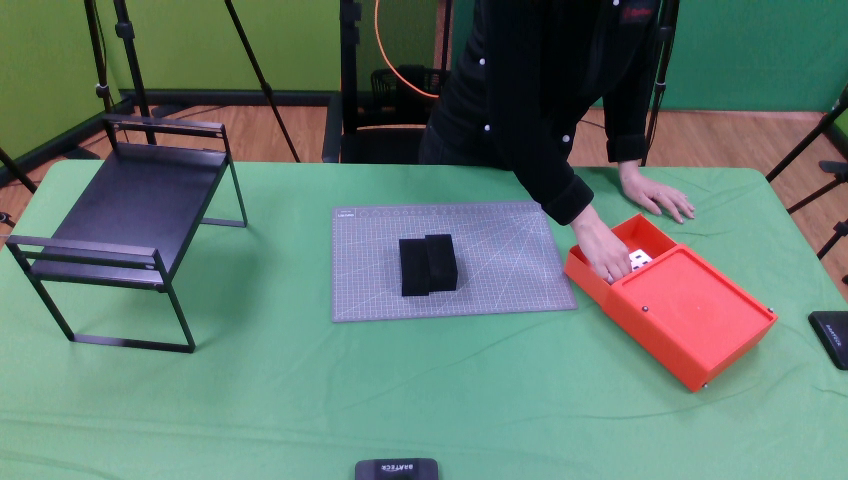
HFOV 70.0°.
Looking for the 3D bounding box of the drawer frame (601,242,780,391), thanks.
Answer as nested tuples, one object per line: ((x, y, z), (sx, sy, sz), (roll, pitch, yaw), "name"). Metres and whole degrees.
((0.462, 0.125, 1.065), (0.202, 0.083, 0.212), (-26, 54, -26), "drawer frame")

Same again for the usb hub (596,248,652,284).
((0.384, 0.060, 1.154), (0.125, 0.025, 0.049), (-23, 52, -22), "usb hub")

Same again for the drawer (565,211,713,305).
((0.405, 0.064, 1.124), (0.194, 0.073, 0.210), (-24, 52, -25), "drawer")
